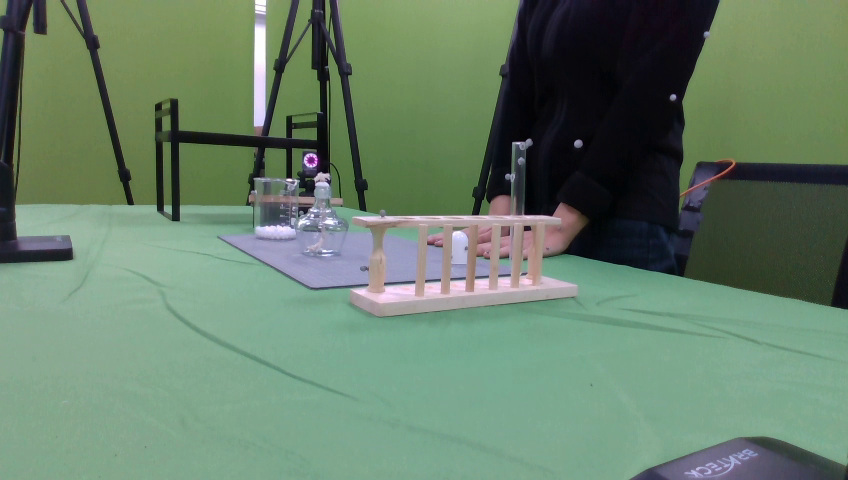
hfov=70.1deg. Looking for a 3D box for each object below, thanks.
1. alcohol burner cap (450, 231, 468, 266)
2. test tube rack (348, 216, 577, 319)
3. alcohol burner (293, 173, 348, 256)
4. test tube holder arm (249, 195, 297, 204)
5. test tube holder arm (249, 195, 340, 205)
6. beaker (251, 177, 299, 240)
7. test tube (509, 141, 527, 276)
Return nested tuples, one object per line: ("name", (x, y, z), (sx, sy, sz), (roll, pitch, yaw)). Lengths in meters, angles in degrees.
("alcohol burner cap", (0.046, 0.011, 0.838), (0.034, 0.048, 0.034), (2, 6, 0))
("test tube rack", (0.048, 0.021, 0.619), (0.244, 0.085, 0.066), (-2, 9, -31))
("alcohol burner", (-0.146, -0.036, 0.859), (0.078, 0.119, 0.078), (4, 8, 0))
("test tube holder arm", (-0.284, -0.076, 1.141), (0.088, 0.015, 0.010), (0, 9, -29))
("test tube holder arm", (-0.247, -0.077, 1.168), (0.179, 0.015, 0.013), (0, 9, -31))
("beaker", (-0.245, -0.052, 1.004), (0.083, 0.100, 0.074), (9, 10, 36))
("test tube", (0.102, -0.032, 0.662), (0.017, 0.150, 0.017), (0, 10, 0))
